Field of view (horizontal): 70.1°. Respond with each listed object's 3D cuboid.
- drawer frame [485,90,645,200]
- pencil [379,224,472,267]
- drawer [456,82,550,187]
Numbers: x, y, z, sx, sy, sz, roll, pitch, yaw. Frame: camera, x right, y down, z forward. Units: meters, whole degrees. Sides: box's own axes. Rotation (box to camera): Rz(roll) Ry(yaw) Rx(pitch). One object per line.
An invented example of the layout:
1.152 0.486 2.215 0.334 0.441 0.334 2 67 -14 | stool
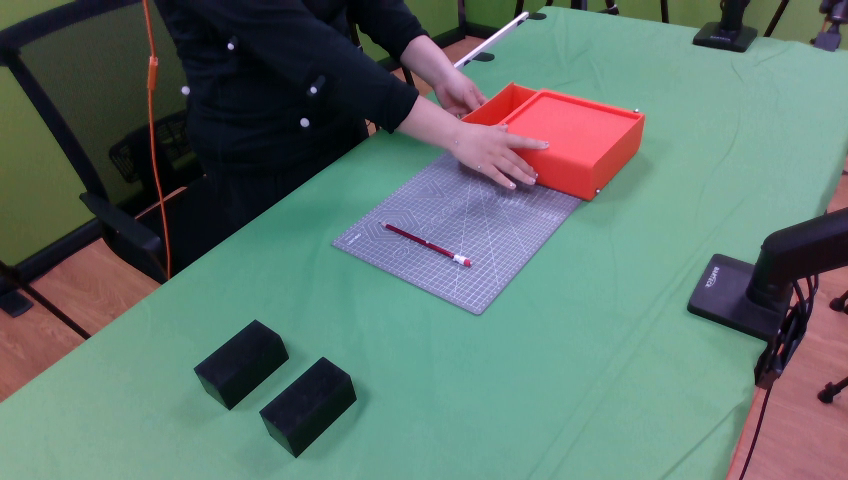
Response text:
0.253 -0.179 1.095 0.212 0.083 0.202 24 48 31 | drawer frame
-0.002 0.005 0.970 0.192 0.012 0.012 24 49 33 | pencil
0.199 -0.202 1.132 0.210 0.073 0.195 26 50 31 | drawer
